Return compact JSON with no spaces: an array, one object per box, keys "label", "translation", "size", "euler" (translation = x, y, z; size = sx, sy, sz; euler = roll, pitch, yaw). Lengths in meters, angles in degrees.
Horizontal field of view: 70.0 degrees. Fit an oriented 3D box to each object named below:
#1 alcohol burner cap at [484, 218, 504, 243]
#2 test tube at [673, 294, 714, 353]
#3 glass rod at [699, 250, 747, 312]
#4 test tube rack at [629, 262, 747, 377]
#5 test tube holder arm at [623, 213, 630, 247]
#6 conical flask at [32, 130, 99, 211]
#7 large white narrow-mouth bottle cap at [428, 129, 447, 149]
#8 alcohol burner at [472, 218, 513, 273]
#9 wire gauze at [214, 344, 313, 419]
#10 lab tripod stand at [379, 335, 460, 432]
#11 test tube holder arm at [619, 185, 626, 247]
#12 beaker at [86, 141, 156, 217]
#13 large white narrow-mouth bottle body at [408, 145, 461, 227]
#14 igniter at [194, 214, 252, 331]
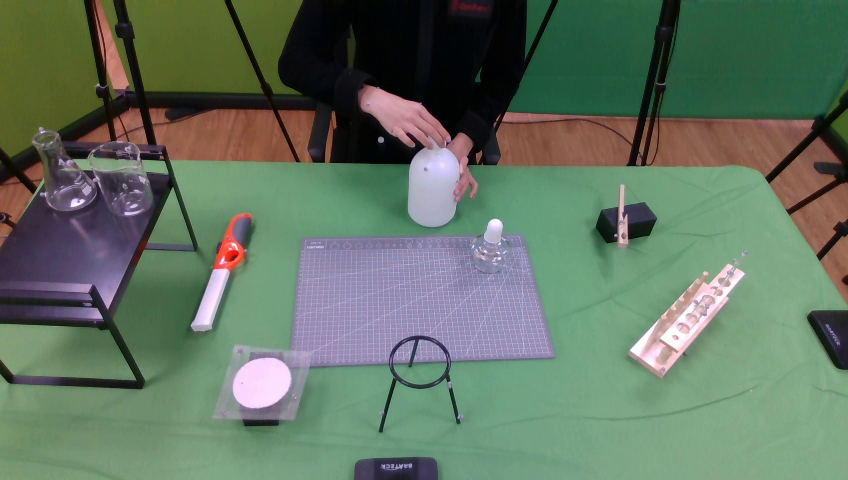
[{"label":"alcohol burner cap","translation":[0.130,-0.021,1.106],"size":[0.034,0.048,0.033],"euler":[3,51,-4]},{"label":"test tube","translation":[0.428,0.137,0.978],"size":[0.017,0.151,0.017],"euler":[4,47,-4]},{"label":"glass rod","translation":[0.500,0.075,1.021],"size":[0.008,0.201,0.008],"euler":[0,55,0]},{"label":"test tube rack","translation":[0.464,0.126,1.061],"size":[0.242,0.085,0.066],"euler":[-34,56,-30]},{"label":"test tube holder arm","translation":[0.393,-0.020,1.179],"size":[0.010,0.015,0.087],"euler":[13,46,2]},{"label":"conical flask","translation":[-0.565,-0.110,0.944],"size":[0.075,0.122,0.075],"euler":[2,46,-2]},{"label":"large white narrow-mouth bottle cap","translation":[0.026,-0.188,1.129],"size":[0.038,0.024,0.037],"euler":[2,46,-2]},{"label":"alcohol burner","translation":[0.128,0.005,1.132],"size":[0.078,0.120,0.077],"euler":[0,47,0]},{"label":"wire gauze","translation":[-0.241,0.213,0.916],"size":[0.121,0.011,0.124],"euler":[5,46,1]},{"label":"lab tripod stand","translation":[-0.011,0.214,0.911],"size":[0.148,0.132,0.147],"euler":[1,45,0]},{"label":"test tube holder arm","translation":[0.397,-0.052,1.210],"size":[0.013,0.015,0.177],"euler":[14,46,4]},{"label":"beaker","translation":[-0.467,-0.092,0.950],"size":[0.084,0.101,0.073],"euler":[15,47,11]},{"label":"large white narrow-mouth bottle body","translation":[0.022,-0.124,1.198],"size":[0.102,0.195,0.101],"euler":[2,46,-2]},{"label":"igniter","translation":[-0.367,0.050,1.119],"size":[0.057,0.025,0.275],"euler":[-4,46,7]}]
